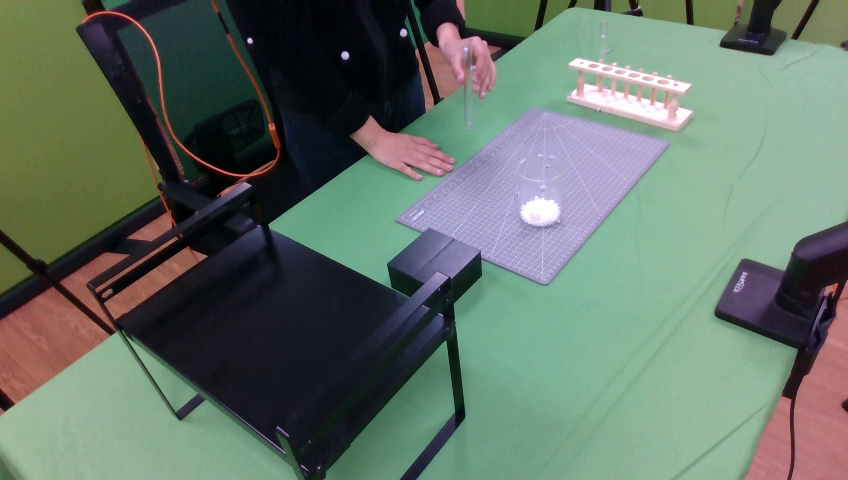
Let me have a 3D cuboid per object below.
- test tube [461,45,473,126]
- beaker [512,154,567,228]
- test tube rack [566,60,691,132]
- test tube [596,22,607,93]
[{"bbox_3d":[0.077,-0.272,1.074,0.017,0.151,0.017,-3,37,3],"label":"test tube"},{"bbox_3d":[0.186,-0.076,0.973,0.084,0.101,0.074,1,41,11],"label":"beaker"},{"bbox_3d":[0.411,-0.299,1.217,0.240,0.085,0.067,26,51,33],"label":"test tube rack"},{"bbox_3d":[0.363,-0.372,1.240,0.017,0.151,0.017,-6,40,5],"label":"test tube"}]
